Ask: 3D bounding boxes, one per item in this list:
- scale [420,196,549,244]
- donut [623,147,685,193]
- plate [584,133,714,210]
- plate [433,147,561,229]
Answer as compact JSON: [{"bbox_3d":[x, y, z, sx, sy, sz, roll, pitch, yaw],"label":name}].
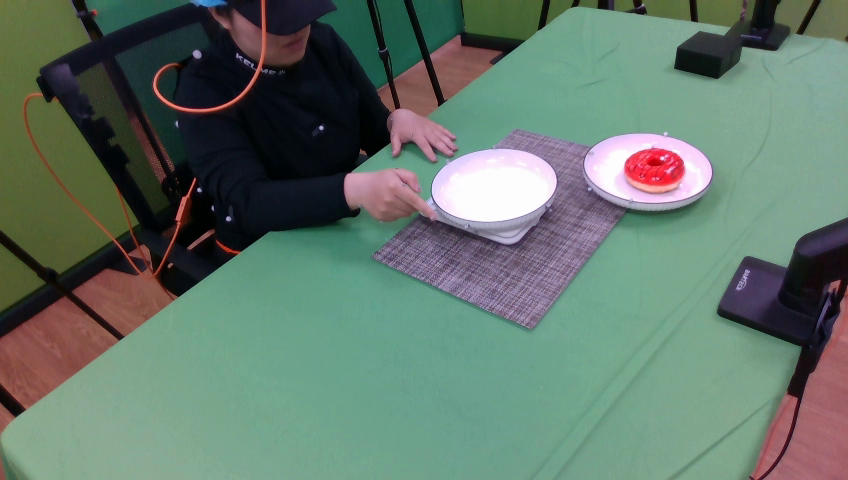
[{"bbox_3d":[0.106,-0.064,1.029,0.199,0.032,0.149,21,48,32],"label":"scale"},{"bbox_3d":[0.388,-0.119,1.019,0.099,0.048,0.098,-4,42,4],"label":"donut"},{"bbox_3d":[0.379,-0.113,1.030,0.209,0.038,0.208,-4,41,4],"label":"plate"},{"bbox_3d":[0.120,-0.082,0.996,0.207,0.039,0.206,-6,40,5],"label":"plate"}]
